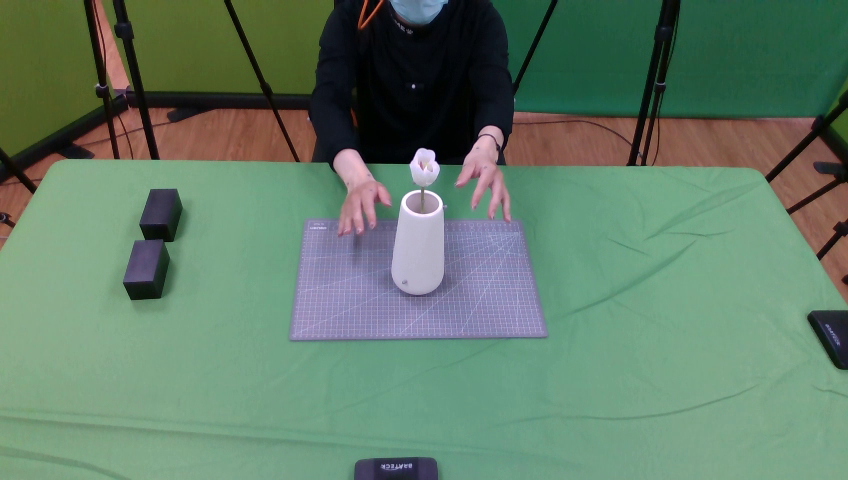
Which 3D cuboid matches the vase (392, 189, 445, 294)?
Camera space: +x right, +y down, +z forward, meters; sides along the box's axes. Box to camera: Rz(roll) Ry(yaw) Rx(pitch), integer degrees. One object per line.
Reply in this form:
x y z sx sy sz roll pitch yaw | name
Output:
-0.006 0.006 1.060 0.098 0.201 0.097 2 48 -2 | vase

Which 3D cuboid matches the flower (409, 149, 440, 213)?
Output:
-0.005 -0.038 0.989 0.038 0.363 0.044 -32 71 -15 | flower
